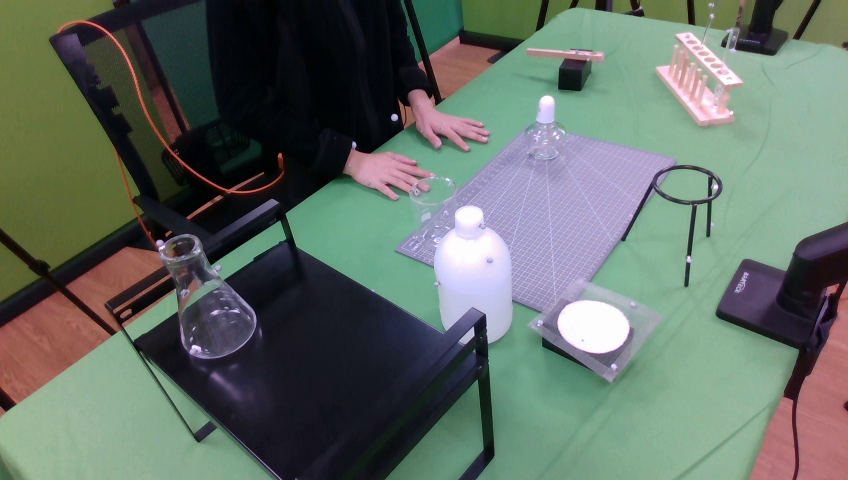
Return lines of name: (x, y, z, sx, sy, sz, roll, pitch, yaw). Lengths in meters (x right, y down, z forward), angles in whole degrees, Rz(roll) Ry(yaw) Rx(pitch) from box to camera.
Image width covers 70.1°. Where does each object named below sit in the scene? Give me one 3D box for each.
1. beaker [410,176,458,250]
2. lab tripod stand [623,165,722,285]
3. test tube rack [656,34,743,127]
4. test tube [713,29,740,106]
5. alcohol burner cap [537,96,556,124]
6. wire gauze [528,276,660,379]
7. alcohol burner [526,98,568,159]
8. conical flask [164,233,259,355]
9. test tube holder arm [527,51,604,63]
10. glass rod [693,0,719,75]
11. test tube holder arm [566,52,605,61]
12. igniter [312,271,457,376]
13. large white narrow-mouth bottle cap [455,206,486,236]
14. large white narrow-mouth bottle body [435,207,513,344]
beaker: (0.022, -0.041, 0.964, 0.073, 0.101, 0.084, 28, 51, 35)
lab tripod stand: (0.365, -0.030, 0.875, 0.148, 0.132, 0.147, -6, 41, 6)
test tube rack: (0.553, -0.330, 1.233, 0.067, 0.085, 0.241, -7, 40, 2)
test tube: (0.572, -0.324, 1.147, 0.017, 0.151, 0.017, -3, 38, 2)
alcohol burner cap: (0.223, -0.238, 1.095, 0.034, 0.048, 0.033, -2, 37, 2)
wire gauze: (0.214, 0.103, 0.763, 0.124, 0.011, 0.122, 30, 52, 35)
alcohol burner: (0.228, -0.210, 1.118, 0.078, 0.119, 0.077, -5, 43, 5)
conical flask: (-0.217, 0.051, 0.601, 0.075, 0.122, 0.075, -4, 40, 4)
test tube holder arm: (0.311, -0.408, 1.344, 0.177, 0.015, 0.013, 14, 38, 30)
glass rod: (0.561, -0.402, 1.214, 0.008, 0.200, 0.008, -1, 49, 2)
test tube holder arm: (0.352, -0.401, 1.325, 0.087, 0.015, 0.010, 15, 38, 30)
igniter: (-0.068, 0.111, 0.859, 0.274, 0.025, 0.057, 27, 61, 34)
large white narrow-mouth bottle cap: (0.057, -0.023, 0.734, 0.038, 0.024, 0.037, -4, 40, 4)
large white narrow-mouth bottle body: (0.065, 0.041, 0.791, 0.102, 0.195, 0.101, -4, 41, 4)
